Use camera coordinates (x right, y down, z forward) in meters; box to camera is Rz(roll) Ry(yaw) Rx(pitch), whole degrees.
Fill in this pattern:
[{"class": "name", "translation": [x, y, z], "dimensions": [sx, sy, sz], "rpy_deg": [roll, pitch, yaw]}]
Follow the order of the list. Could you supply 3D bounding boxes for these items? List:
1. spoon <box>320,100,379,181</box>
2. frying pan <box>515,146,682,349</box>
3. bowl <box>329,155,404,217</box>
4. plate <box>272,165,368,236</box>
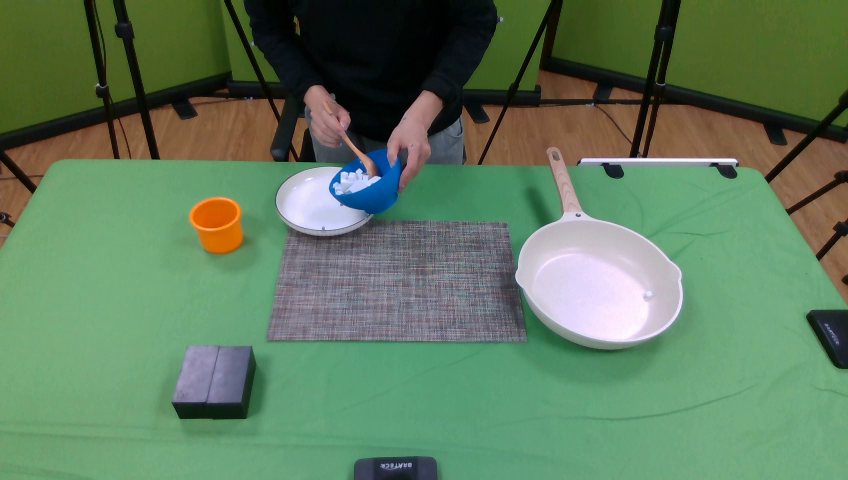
[{"class": "spoon", "translation": [-0.145, -0.190, 1.179], "dimensions": [0.194, 0.021, 0.041], "rpy_deg": [52, 27, -5]}, {"class": "frying pan", "translation": [0.303, -0.004, 1.168], "dimensions": [0.307, 0.103, 0.484], "rpy_deg": [-2, 55, -7]}, {"class": "bowl", "translation": [-0.099, -0.096, 1.167], "dimensions": [0.151, 0.077, 0.150], "rpy_deg": [-18, 24, 9]}, {"class": "plate", "translation": [-0.204, -0.076, 1.240], "dimensions": [0.208, 0.039, 0.206], "rpy_deg": [3, 44, -2]}]
